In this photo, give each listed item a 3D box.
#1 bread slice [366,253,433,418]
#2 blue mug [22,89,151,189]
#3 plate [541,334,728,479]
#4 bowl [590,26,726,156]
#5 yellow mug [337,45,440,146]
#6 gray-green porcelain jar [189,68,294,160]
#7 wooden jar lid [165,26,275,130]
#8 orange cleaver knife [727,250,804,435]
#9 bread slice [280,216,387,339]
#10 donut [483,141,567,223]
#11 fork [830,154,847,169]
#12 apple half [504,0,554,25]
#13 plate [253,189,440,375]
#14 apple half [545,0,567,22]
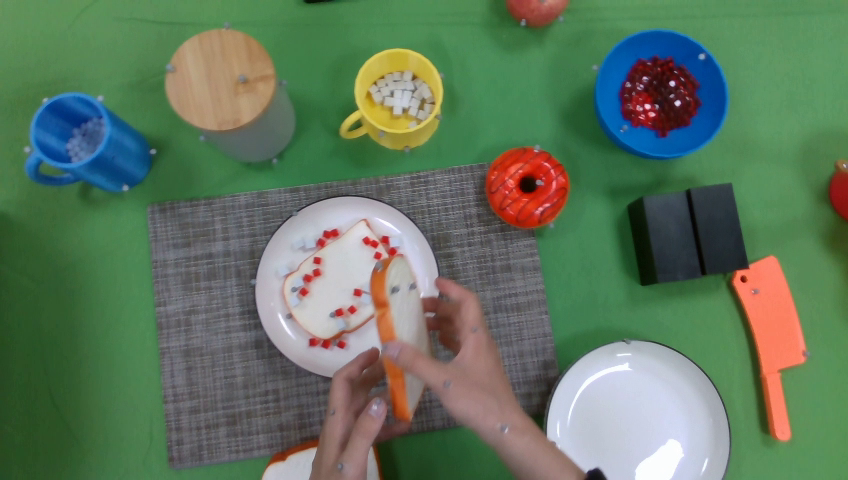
[{"bbox_3d":[-0.021,0.080,0.550,0.018,0.106,0.135,-10,107,13],"label":"bread slice"},{"bbox_3d":[-0.379,-0.099,0.670,0.116,0.106,0.082,-33,84,-6],"label":"blue mug"},{"bbox_3d":[0.232,0.210,0.682,0.209,0.038,0.208,0,82,-1],"label":"plate"},{"bbox_3d":[0.262,-0.163,0.713,0.151,0.077,0.151,0,83,-1],"label":"bowl"},{"bbox_3d":[-0.045,-0.159,0.709,0.131,0.064,0.099,-31,84,-5],"label":"yellow mug"},{"bbox_3d":[-0.205,-0.152,0.673,0.106,0.127,0.105,0,82,-2],"label":"gray-green porcelain jar"},{"bbox_3d":[-0.204,-0.161,0.611,0.108,0.021,0.108,0,80,-1],"label":"wooden jar lid"},{"bbox_3d":[0.408,0.117,0.710,0.077,0.012,0.210,-6,81,-9],"label":"orange cleaver knife"},{"bbox_3d":[-0.095,0.050,0.690,0.131,0.019,0.104,-35,84,-6],"label":"bread slice"},{"bbox_3d":[0.117,-0.068,0.709,0.099,0.048,0.099,0,83,-2],"label":"donut"},{"bbox_3d":[0.491,-0.074,0.674,0.209,0.018,0.028,6,80,-43],"label":"fork"},{"bbox_3d":[0.116,-0.285,0.726,0.033,0.081,0.081,-41,85,-11],"label":"apple half"},{"bbox_3d":[-0.086,0.047,0.690,0.208,0.039,0.207,0,82,-2],"label":"plate"},{"bbox_3d":[0.145,-0.310,0.732,0.053,0.075,0.080,-40,81,-12],"label":"apple half"}]
